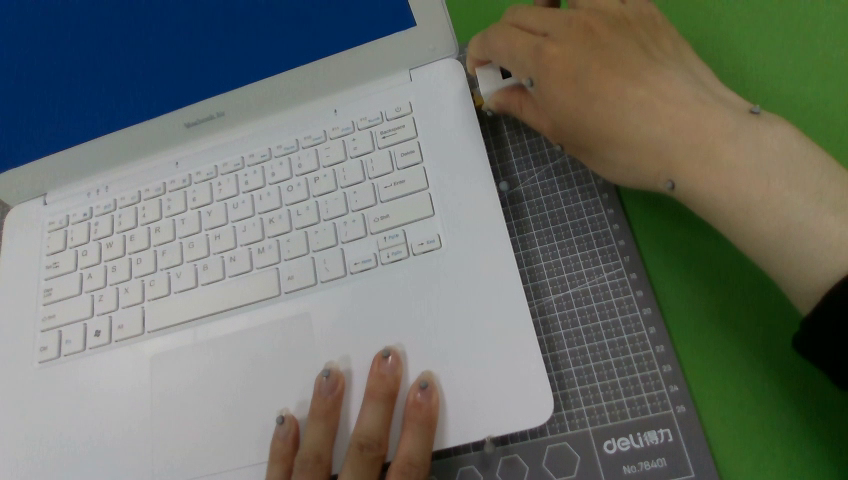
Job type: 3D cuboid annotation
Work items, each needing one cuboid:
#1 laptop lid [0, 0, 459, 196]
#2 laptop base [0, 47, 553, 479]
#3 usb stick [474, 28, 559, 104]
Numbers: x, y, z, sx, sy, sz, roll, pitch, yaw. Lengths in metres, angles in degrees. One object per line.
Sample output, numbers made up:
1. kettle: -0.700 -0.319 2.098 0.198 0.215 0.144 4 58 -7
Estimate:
1. laptop lid: -0.177 -0.149 0.338 0.356 0.244 0.013 -17 47 11
2. laptop base: -0.120 0.029 0.378 0.354 0.023 0.233 -16 69 10
3. usb stick: 0.049 -0.101 0.364 0.059 0.027 0.021 -22 62 17
